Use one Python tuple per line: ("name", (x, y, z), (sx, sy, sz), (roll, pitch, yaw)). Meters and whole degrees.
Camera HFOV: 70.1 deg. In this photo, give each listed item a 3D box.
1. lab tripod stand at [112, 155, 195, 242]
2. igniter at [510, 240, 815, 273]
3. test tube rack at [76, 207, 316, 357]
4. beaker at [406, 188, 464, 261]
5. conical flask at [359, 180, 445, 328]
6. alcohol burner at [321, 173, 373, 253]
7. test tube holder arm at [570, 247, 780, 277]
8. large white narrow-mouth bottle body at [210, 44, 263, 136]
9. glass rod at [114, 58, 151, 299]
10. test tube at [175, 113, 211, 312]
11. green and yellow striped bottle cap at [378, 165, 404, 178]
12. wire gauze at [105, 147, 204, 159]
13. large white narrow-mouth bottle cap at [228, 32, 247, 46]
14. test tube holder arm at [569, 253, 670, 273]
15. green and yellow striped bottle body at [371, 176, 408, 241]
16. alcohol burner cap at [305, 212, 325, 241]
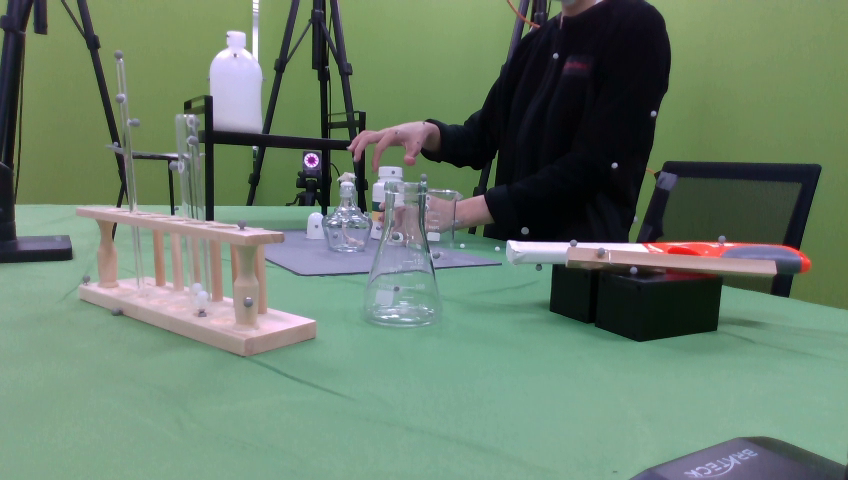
("lab tripod stand", (-0.405, -0.064, 0.931), (0.148, 0.131, 0.148), (1, 6, 0))
("igniter", (0.220, 0.015, 0.565), (0.277, 0.025, 0.057), (2, 16, 0))
("test tube rack", (-0.196, 0.023, 0.500), (0.241, 0.085, 0.067), (8, 9, 36))
("beaker", (0.014, -0.023, 0.870), (0.084, 0.100, 0.074), (2, 8, -4))
("conical flask", (-0.017, 0.010, 0.522), (0.075, 0.122, 0.075), (2, 7, 0))
("alcohol burner", (-0.115, -0.041, 0.905), (0.078, 0.119, 0.078), (1, 6, 0))
("test tube holder arm", (0.217, 0.019, 0.525), (0.178, 0.015, 0.013), (3, -23, 3))
("large white narrow-mouth bottle body", (-0.369, -0.305, 1.194), (0.102, 0.194, 0.102), (3, 8, 0))
("glass rod", (-0.236, -0.044, 0.492), (0.008, 0.199, 0.008), (1, 15, 0))
("test tube", (-0.174, -0.020, 0.458), (0.017, 0.150, 0.017), (-3, 5, 1))
("green and yellow striped bottle cap", (-0.057, -0.118, 1.051), (0.045, 0.020, 0.045), (0, 1, 0))
("wire gauze", (-0.407, -0.131, 0.928), (0.125, 0.011, 0.121), (2, 6, -11))
("large white narrow-mouth bottle cap", (-0.364, -0.391, 1.180), (0.038, 0.024, 0.037), (3, 8, 0))
("test tube holder arm", (0.172, 0.019, 0.532), (0.088, 0.015, 0.010), (3, -23, 3))
("green and yellow striped bottle body", (-0.060, -0.061, 1.059), (0.063, 0.119, 0.063), (2, 7, 0))
("alcohol burner cap", (-0.185, -0.023, 1.027), (0.034, 0.048, 0.034), (2, 7, 0))
